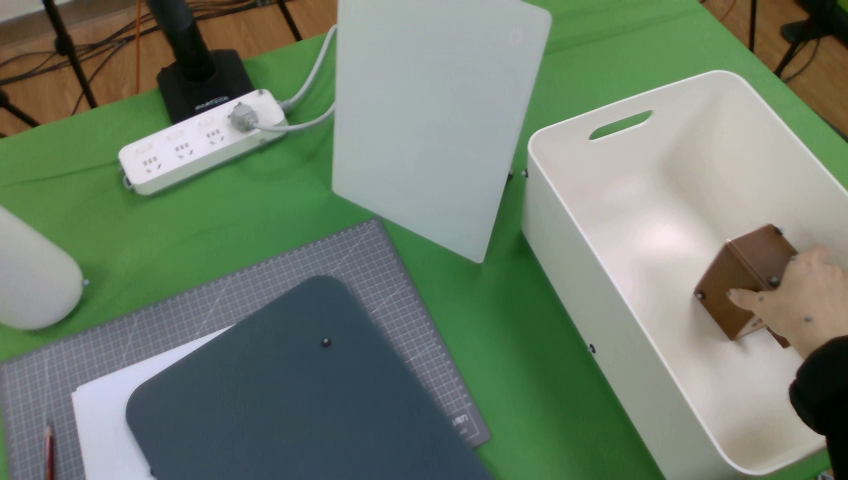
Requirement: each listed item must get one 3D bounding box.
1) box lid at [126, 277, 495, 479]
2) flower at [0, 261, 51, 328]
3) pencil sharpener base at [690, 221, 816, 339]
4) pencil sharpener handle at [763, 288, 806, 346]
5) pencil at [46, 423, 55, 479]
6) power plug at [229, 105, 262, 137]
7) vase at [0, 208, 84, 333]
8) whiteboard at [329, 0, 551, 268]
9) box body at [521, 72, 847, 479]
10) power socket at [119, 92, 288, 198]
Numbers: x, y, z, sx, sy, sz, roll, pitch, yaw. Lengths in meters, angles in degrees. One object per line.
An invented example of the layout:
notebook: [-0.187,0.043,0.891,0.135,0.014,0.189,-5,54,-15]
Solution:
box lid: [-0.105,0.224,0.596,0.263,0.015,0.368,-34,65,-18]
flower: [-0.442,-0.039,0.554,0.038,0.365,0.043,-34,46,-25]
pencil sharpener base: [0.337,0.046,0.628,0.061,0.108,0.076,-20,57,-12]
pencil sharpener handle: [0.357,0.077,0.591,0.036,0.068,0.030,-20,57,-12]
pencil: [-0.356,0.266,0.576,0.012,0.012,0.192,-17,59,-8]
power plug: [-0.227,-0.141,0.774,0.035,0.053,0.072,-19,62,-9]
vase: [-0.438,0.019,0.615,0.098,0.201,0.097,-1,59,2]
whiteboard: [0.027,-0.158,0.684,0.216,0.308,0.143,27,45,16]
box body: [0.281,0.035,0.613,0.254,0.162,0.360,-20,61,-10]
power socket: [-0.285,-0.127,0.794,0.227,0.033,0.071,-28,64,-15]
